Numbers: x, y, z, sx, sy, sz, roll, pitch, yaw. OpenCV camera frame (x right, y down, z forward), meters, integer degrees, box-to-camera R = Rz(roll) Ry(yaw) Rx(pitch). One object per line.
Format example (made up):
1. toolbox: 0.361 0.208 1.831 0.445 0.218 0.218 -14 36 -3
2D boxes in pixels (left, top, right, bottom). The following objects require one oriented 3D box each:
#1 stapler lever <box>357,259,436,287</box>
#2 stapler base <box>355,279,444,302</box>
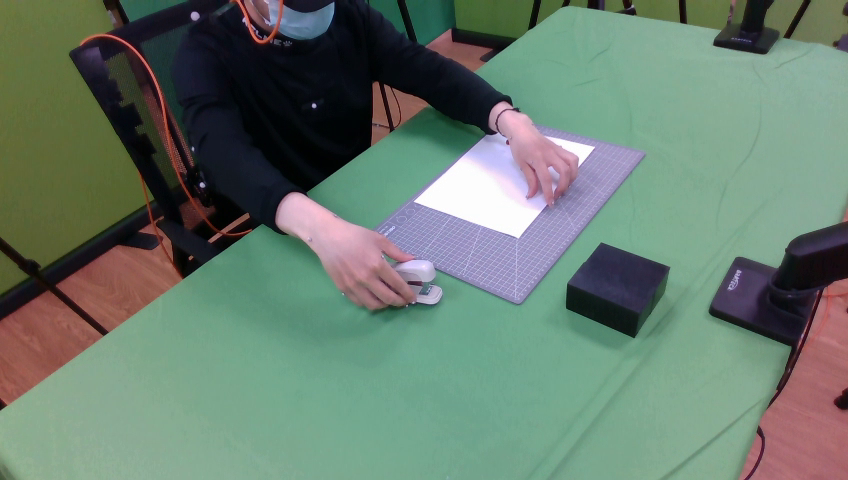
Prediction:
1. stapler lever: -0.040 0.043 0.882 0.117 0.040 0.027 7 25 17
2. stapler base: -0.037 0.065 0.893 0.130 0.024 0.041 6 25 18
